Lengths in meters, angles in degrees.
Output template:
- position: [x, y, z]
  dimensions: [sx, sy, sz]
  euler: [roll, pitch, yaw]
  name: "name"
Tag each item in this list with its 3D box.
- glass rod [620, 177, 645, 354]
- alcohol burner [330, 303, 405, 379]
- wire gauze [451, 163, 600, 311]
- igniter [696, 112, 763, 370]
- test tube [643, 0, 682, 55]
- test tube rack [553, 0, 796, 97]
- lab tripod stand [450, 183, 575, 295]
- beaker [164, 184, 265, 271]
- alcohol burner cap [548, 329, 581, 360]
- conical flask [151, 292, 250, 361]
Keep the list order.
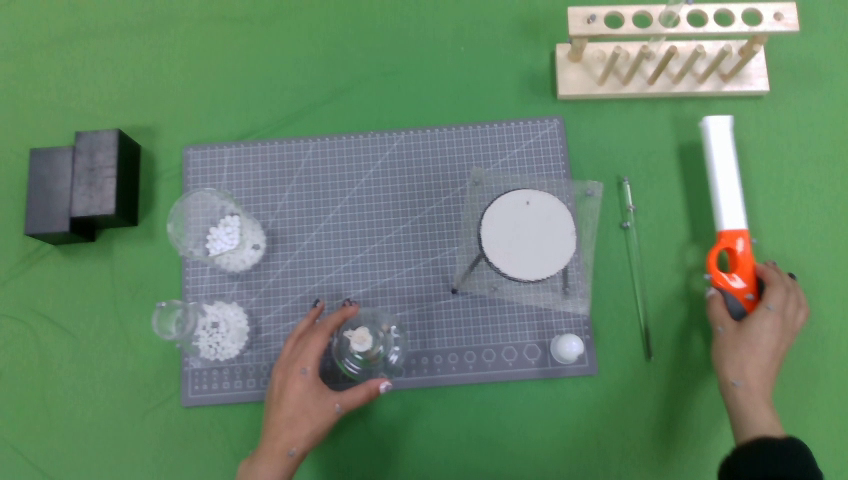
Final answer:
- position: [0.232, 0.026, 0.672]
  dimensions: [0.008, 0.008, 0.199]
  euler: [-3, 80, 1]
  name: "glass rod"
- position: [-0.060, 0.100, 0.609]
  dimensions: [0.078, 0.119, 0.077]
  euler: [-1, 77, 4]
  name: "alcohol burner"
- position: [0.093, -0.006, 0.548]
  dimensions: [0.125, 0.011, 0.121]
  euler: [10, 79, 4]
  name: "wire gauze"
- position: [0.323, -0.003, 0.645]
  dimensions: [0.057, 0.025, 0.275]
  euler: [-2, 81, -2]
  name: "igniter"
- position: [0.256, -0.239, 0.639]
  dimensions: [0.017, 0.151, 0.017]
  euler: [-1, 77, 5]
  name: "test tube"
- position: [0.275, -0.214, 0.684]
  dimensions: [0.242, 0.085, 0.066]
  euler: [-1, 77, 2]
  name: "test tube rack"
- position: [0.092, 0.008, 0.614]
  dimensions: [0.148, 0.132, 0.147]
  euler: [0, 79, 2]
  name: "lab tripod stand"
- position: [-0.213, -0.007, 0.644]
  dimensions: [0.084, 0.100, 0.074]
  euler: [31, 80, 8]
  name: "beaker"
- position: [0.150, 0.108, 0.637]
  dimensions: [0.034, 0.048, 0.033]
  euler: [0, 76, 2]
  name: "alcohol burner cap"
- position: [-0.230, 0.083, 0.613]
  dimensions: [0.075, 0.122, 0.075]
  euler: [0, 77, 2]
  name: "conical flask"
